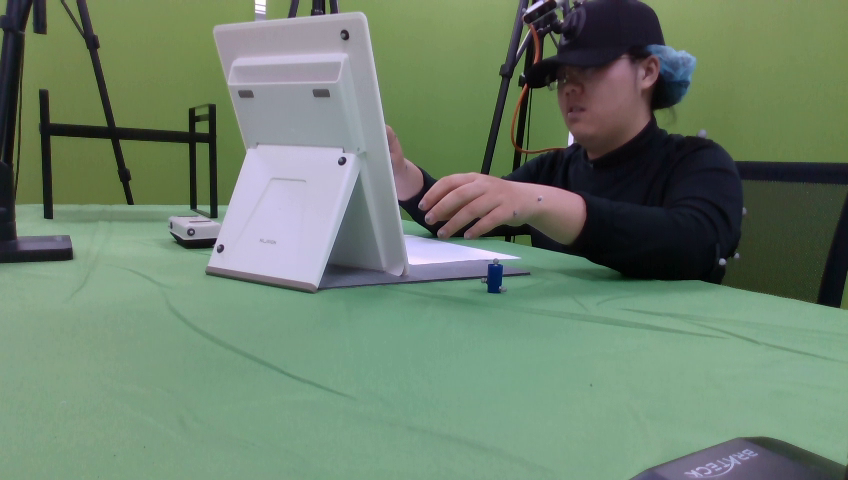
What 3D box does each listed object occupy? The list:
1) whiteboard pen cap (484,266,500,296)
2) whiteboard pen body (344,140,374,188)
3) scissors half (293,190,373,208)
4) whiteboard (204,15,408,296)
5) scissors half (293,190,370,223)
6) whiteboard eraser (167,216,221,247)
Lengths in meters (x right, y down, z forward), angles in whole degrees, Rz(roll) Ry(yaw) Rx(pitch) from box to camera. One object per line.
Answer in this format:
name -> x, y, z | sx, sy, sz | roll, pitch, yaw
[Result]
whiteboard pen cap -> 0.075, 0.046, 0.668 | 0.018, 0.033, 0.018 | 3, 5, 0
whiteboard pen body -> -0.100, -0.117, 0.937 | 0.017, 0.017, 0.140 | -1, -23, -23
scissors half -> -0.201, -0.096, 1.333 | 0.175, 0.040, 0.013 | 5, 18, -4
whiteboard -> -0.166, -0.072, 0.669 | 0.216, 0.305, 0.144 | 8, 30, 30
scissors half -> -0.205, -0.077, 1.338 | 0.175, 0.040, 0.013 | 22, 11, -8
whiteboard eraser -> -0.350, -0.013, 0.920 | 0.056, 0.042, 0.112 | 0, 7, -35
